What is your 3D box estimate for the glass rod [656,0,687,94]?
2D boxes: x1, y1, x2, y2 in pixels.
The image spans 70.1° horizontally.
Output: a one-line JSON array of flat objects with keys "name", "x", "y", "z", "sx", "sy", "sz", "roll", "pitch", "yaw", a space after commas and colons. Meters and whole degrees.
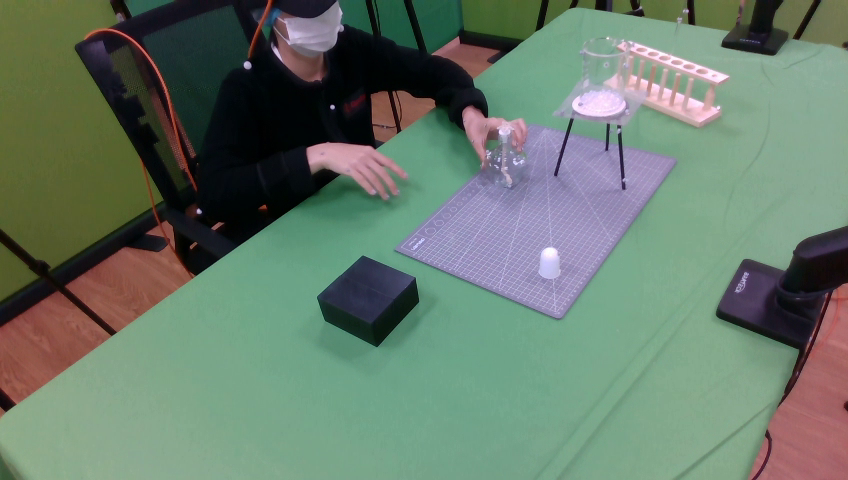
[{"name": "glass rod", "x": 0.491, "y": -0.381, "z": 1.199, "sx": 0.008, "sy": 0.200, "sz": 0.008, "roll": 1, "pitch": 41, "yaw": 0}]

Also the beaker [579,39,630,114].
[{"name": "beaker", "x": 0.289, "y": -0.263, "z": 0.975, "sx": 0.073, "sy": 0.101, "sz": 0.084, "roll": 17, "pitch": 45, "yaw": 27}]

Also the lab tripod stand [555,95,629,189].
[{"name": "lab tripod stand", "x": 0.300, "y": -0.174, "z": 1.045, "sx": 0.148, "sy": 0.132, "sz": 0.147, "roll": -5, "pitch": 38, "yaw": 5}]

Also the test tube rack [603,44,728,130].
[{"name": "test tube rack", "x": 0.480, "y": -0.316, "z": 1.227, "sx": 0.067, "sy": 0.085, "sz": 0.240, "roll": -28, "pitch": 44, "yaw": -22}]

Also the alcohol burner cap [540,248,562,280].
[{"name": "alcohol burner cap", "x": 0.187, "y": 0.032, "z": 0.888, "sx": 0.034, "sy": 0.048, "sz": 0.033, "roll": -4, "pitch": 40, "yaw": 4}]

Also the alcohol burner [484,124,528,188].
[{"name": "alcohol burner", "x": 0.143, "y": -0.152, "z": 1.059, "sx": 0.078, "sy": 0.119, "sz": 0.077, "roll": -3, "pitch": 41, "yaw": 3}]

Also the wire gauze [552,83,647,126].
[{"name": "wire gauze", "x": 0.293, "y": -0.224, "z": 1.003, "sx": 0.120, "sy": 0.011, "sz": 0.125, "roll": 19, "pitch": 43, "yaw": 26}]
